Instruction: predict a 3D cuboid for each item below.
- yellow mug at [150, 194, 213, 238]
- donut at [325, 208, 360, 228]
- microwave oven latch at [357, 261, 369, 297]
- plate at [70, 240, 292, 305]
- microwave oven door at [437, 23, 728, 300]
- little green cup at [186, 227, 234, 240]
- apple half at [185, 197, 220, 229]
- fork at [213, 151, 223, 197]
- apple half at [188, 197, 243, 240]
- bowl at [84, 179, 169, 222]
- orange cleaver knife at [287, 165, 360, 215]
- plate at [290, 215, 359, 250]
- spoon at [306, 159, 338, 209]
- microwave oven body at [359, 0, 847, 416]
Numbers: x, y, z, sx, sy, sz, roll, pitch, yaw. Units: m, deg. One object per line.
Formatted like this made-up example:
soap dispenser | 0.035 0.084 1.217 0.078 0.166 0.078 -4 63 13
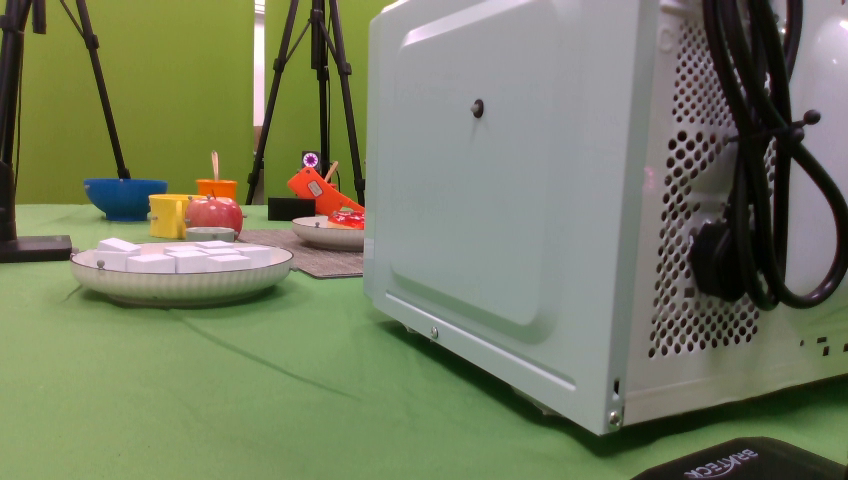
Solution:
yellow mug | -0.401 -0.040 1.003 0.100 0.064 0.130 -1 9 -20
donut | -0.110 -0.025 0.974 0.099 0.048 0.099 4 8 0
microwave oven latch | -0.019 0.033 0.531 0.079 0.029 0.030 -1 7 -27
plate | -0.242 0.031 0.618 0.208 0.039 0.207 2 8 0
microwave oven door | 0.181 -0.072 0.621 0.358 0.243 0.039 -2 9 -29
little green cup | -0.284 0.005 0.805 0.061 0.038 0.061 2 8 0
apple half | -0.338 -0.031 0.927 0.032 0.081 0.081 12 12 31
fork | -0.493 -0.143 1.442 0.028 0.018 0.206 -3 52 -18
apple half | -0.305 -0.026 0.907 0.053 0.074 0.081 12 8 31
bowl | -0.584 -0.078 1.194 0.151 0.077 0.151 3 8 0
orange cleaver knife | -0.210 -0.093 1.382 0.212 0.077 0.012 33 1 -15
plate | -0.110 -0.014 0.973 0.209 0.038 0.209 3 8 0
spoon | -0.257 -0.147 1.567 0.041 0.022 0.193 2 50 20
microwave oven body | 0.211 -0.047 0.474 0.444 0.260 0.324 -1 7 -28
